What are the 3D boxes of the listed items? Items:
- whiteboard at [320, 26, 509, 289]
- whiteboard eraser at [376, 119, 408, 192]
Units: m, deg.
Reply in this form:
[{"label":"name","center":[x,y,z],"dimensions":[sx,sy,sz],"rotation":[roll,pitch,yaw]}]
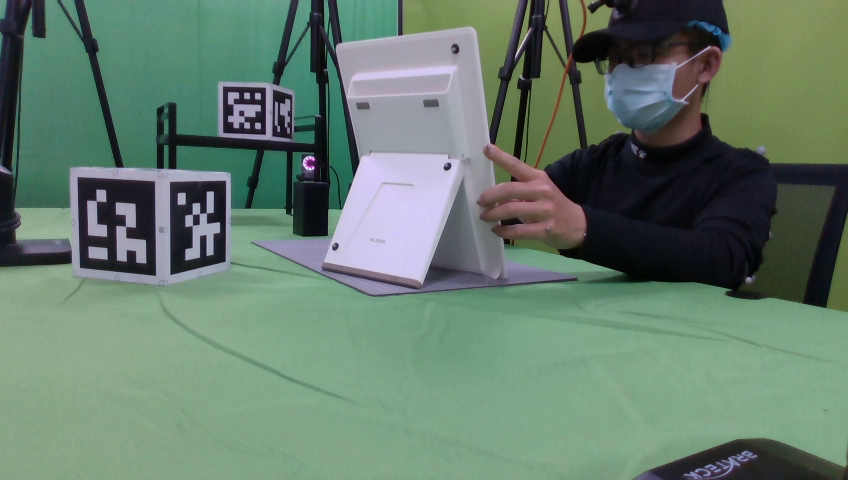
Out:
[{"label":"whiteboard","center":[-0.046,-0.076,0.720],"dimensions":[0.216,0.305,0.144],"rotation":[9,29,39]},{"label":"whiteboard eraser","center":[-0.042,-0.113,0.810],"dimensions":[0.041,0.101,0.019],"rotation":[21,40,34]}]
